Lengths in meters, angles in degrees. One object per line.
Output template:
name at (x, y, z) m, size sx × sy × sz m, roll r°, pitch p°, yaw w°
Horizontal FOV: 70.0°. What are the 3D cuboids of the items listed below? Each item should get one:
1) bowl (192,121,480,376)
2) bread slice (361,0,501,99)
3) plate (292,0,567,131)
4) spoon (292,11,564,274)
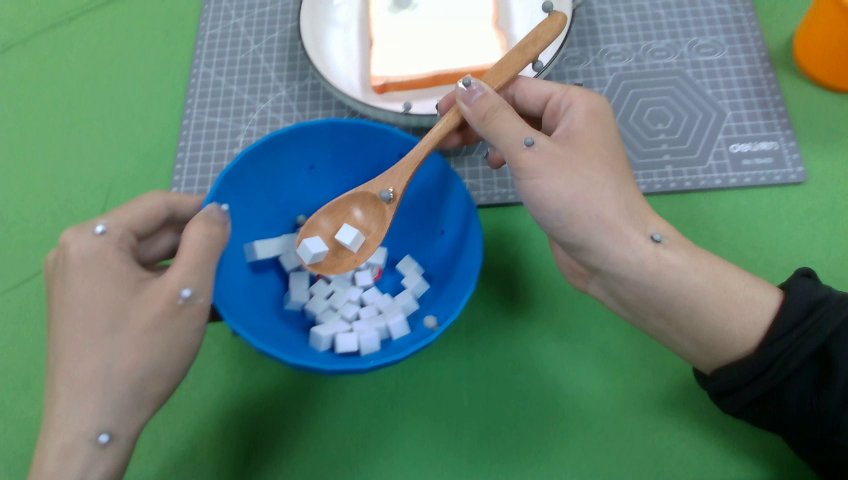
bowl at (-0.049, 0.014, 0.353) m, size 0.152 × 0.077 × 0.150 m, roll 4°, pitch 62°, yaw -8°
bread slice at (0.000, -0.172, 0.478) m, size 0.107 × 0.018 × 0.133 m, roll -11°, pitch 67°, yaw 1°
plate at (0.003, -0.169, 0.473) m, size 0.209 × 0.038 × 0.207 m, roll -2°, pitch 66°, yaw 5°
spoon at (0.006, -0.054, 0.322) m, size 0.194 × 0.022 × 0.041 m, roll -45°, pitch 71°, yaw 1°
